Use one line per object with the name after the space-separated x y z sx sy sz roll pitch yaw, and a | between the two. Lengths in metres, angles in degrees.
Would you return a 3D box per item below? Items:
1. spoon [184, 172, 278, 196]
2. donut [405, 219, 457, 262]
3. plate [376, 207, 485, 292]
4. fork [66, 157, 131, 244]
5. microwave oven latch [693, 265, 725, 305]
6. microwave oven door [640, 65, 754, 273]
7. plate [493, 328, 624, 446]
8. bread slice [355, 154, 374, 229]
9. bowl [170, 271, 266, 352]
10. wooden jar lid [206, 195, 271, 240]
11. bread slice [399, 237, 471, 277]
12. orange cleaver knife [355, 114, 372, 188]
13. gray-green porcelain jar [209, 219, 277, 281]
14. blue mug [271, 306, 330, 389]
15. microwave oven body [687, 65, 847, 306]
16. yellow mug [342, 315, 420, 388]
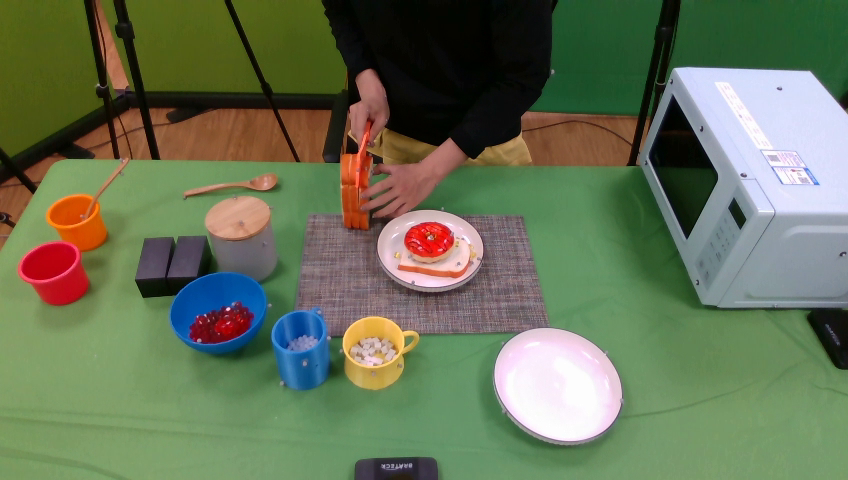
-0.405 -0.116 1.275 0.194 0.022 0.041 -8 66 -12 | spoon
0.012 -0.001 1.141 0.099 0.048 0.098 0 44 0 | donut
0.012 0.021 1.159 0.209 0.038 0.208 2 47 -2 | plate
-0.608 -0.074 1.132 0.207 0.019 0.028 -52 48 10 | fork
0.522 0.081 1.115 0.030 0.029 0.078 2 46 -1 | microwave oven latch
0.523 -0.147 1.193 0.039 0.245 0.353 0 47 -3 | microwave oven door
0.213 0.236 0.974 0.208 0.039 0.206 2 46 -2 | plate
-0.119 -0.103 1.209 0.018 0.135 0.106 9 45 -3 | bread slice
-0.334 0.132 1.006 0.151 0.077 0.150 2 46 -2 | bowl
-0.319 -0.036 1.046 0.108 0.021 0.107 1 44 0 | wooden jar lid
0.025 0.025 1.160 0.131 0.019 0.104 7 47 7 | bread slice
-0.120 -0.180 1.203 0.012 0.077 0.210 5 38 0 | orange cleaver knife
-0.323 0.007 1.092 0.106 0.127 0.105 2 46 -2 | gray-green porcelain jar
-0.188 0.163 0.969 0.082 0.106 0.116 15 47 10 | blue mug
0.669 -0.111 1.176 0.326 0.261 0.439 0 46 -3 | microwave oven body
-0.068 0.177 0.990 0.131 0.064 0.099 -15 50 -19 | yellow mug
